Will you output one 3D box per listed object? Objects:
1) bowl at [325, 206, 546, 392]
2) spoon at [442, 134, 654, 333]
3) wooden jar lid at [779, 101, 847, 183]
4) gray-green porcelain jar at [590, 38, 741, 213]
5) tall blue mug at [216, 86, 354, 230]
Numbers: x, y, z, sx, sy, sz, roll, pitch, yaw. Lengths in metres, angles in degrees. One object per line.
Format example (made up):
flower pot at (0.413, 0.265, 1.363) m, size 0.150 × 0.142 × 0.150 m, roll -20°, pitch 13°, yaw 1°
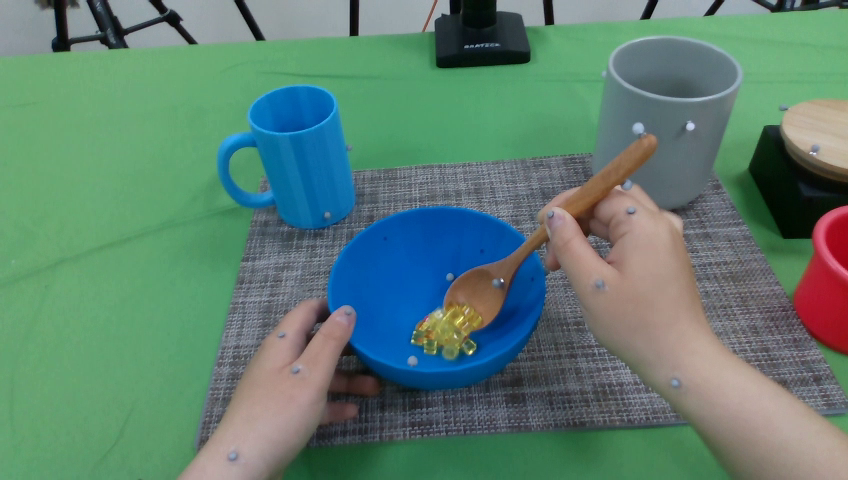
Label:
bowl at (0.009, 0.054, 0.439) m, size 0.151 × 0.077 × 0.150 m, roll -2°, pitch 45°, yaw 2°
spoon at (0.069, 0.003, 0.380) m, size 0.022 × 0.194 × 0.041 m, roll -11°, pitch 63°, yaw -40°
wooden jar lid at (0.365, -0.084, 0.525) m, size 0.108 × 0.021 × 0.107 m, roll -3°, pitch 45°, yaw 3°
gray-green porcelain jar at (0.207, -0.096, 0.538) m, size 0.106 × 0.128 × 0.105 m, roll -2°, pitch 45°, yaw 3°
tall blue mug at (-0.120, -0.065, 0.544) m, size 0.077 × 0.109 × 0.107 m, roll 33°, pitch 56°, yaw 30°
